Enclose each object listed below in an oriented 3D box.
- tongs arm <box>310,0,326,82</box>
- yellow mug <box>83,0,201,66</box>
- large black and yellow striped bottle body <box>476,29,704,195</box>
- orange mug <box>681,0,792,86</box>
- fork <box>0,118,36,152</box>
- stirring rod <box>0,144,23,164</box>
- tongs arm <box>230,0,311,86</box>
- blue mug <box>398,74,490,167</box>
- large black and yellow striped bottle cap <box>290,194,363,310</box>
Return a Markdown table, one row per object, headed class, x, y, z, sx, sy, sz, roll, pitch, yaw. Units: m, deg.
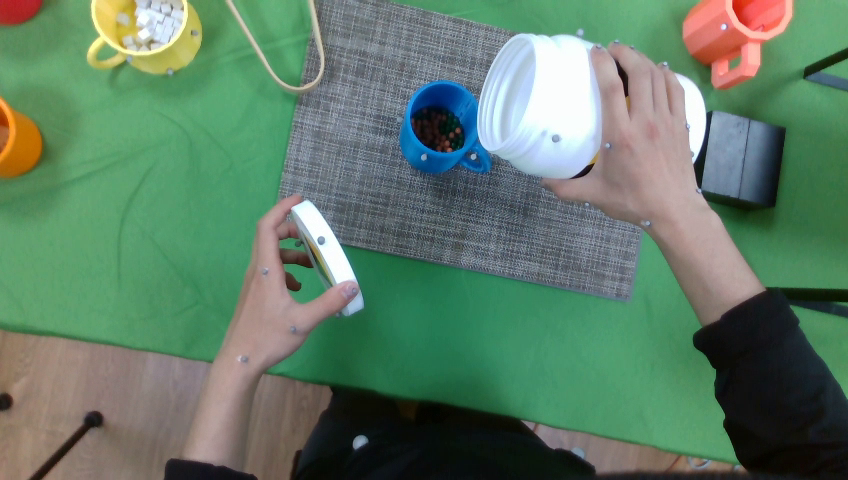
| class | x | y | z | sx | sy | sz | roll | pitch | yaw |
| --- | --- | --- | --- | --- | --- | --- | --- | --- | --- |
| tongs arm | -0.159 | -0.378 | 0.692 | 0.028 | 0.027 | 0.388 | -14 | 97 | -16 |
| yellow mug | -0.319 | -0.242 | 0.670 | 0.131 | 0.064 | 0.100 | -40 | 94 | -6 |
| large black and yellow striped bottle body | 0.155 | -0.123 | 0.584 | 0.185 | 0.130 | 0.130 | 10 | 87 | -21 |
| orange mug | 0.382 | -0.259 | 0.747 | 0.083 | 0.101 | 0.126 | 2 | 84 | -7 |
| fork | -0.498 | -0.141 | 0.601 | 0.209 | 0.018 | 0.028 | 30 | 82 | -49 |
| stirring rod | -0.494 | -0.121 | 0.604 | 0.006 | 0.178 | 0.014 | 1 | 69 | 36 |
| tongs arm | -0.236 | -0.347 | 0.678 | 0.051 | 0.026 | 0.386 | -27 | 99 | -11 |
| blue mug | 0.027 | -0.122 | 0.689 | 0.117 | 0.106 | 0.082 | 37 | 84 | -5 |
| large black and yellow striped bottle cap | -0.093 | 0.012 | 0.566 | 0.019 | 0.115 | 0.115 | -28 | 92 | -17 |
